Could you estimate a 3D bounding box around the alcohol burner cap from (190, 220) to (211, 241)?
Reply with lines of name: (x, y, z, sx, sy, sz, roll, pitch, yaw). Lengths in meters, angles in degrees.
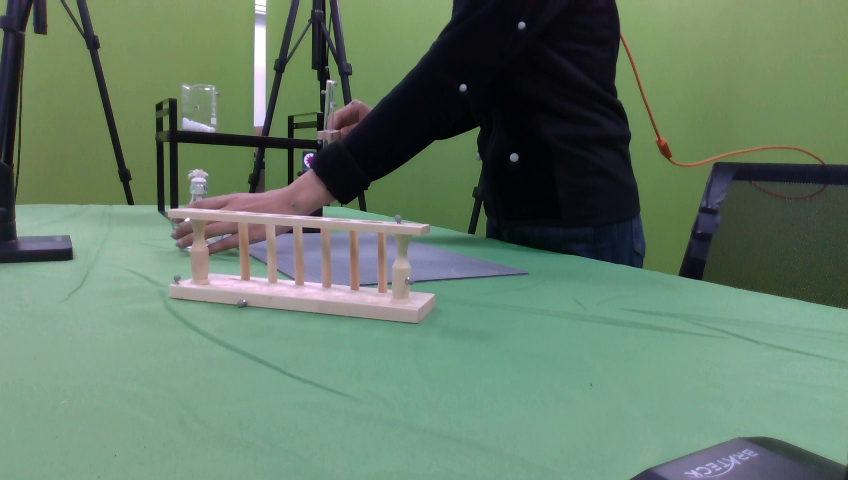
alcohol burner cap: (-0.365, -0.023, 0.988, 0.034, 0.048, 0.034, 2, 8, 0)

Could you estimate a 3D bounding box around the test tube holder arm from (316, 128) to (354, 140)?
test tube holder arm: (-0.157, -0.192, 1.087, 0.013, 0.015, 0.178, 13, 14, 7)

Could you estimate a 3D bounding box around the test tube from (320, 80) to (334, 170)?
test tube: (-0.163, -0.193, 1.018, 0.017, 0.150, 0.017, 6, 12, -1)

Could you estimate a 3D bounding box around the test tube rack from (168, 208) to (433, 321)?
test tube rack: (-0.116, 0.018, 0.574, 0.242, 0.085, 0.067, 4, 8, 14)

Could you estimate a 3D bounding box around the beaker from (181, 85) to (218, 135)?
beaker: (-0.479, -0.276, 1.291, 0.074, 0.100, 0.084, 2, 8, -1)

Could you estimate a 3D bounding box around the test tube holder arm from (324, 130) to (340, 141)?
test tube holder arm: (-0.158, -0.181, 1.043, 0.010, 0.015, 0.088, 11, 14, 0)

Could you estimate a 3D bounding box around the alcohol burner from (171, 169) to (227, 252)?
alcohol burner: (-0.325, -0.043, 0.875, 0.078, 0.119, 0.078, 1, 7, 0)
